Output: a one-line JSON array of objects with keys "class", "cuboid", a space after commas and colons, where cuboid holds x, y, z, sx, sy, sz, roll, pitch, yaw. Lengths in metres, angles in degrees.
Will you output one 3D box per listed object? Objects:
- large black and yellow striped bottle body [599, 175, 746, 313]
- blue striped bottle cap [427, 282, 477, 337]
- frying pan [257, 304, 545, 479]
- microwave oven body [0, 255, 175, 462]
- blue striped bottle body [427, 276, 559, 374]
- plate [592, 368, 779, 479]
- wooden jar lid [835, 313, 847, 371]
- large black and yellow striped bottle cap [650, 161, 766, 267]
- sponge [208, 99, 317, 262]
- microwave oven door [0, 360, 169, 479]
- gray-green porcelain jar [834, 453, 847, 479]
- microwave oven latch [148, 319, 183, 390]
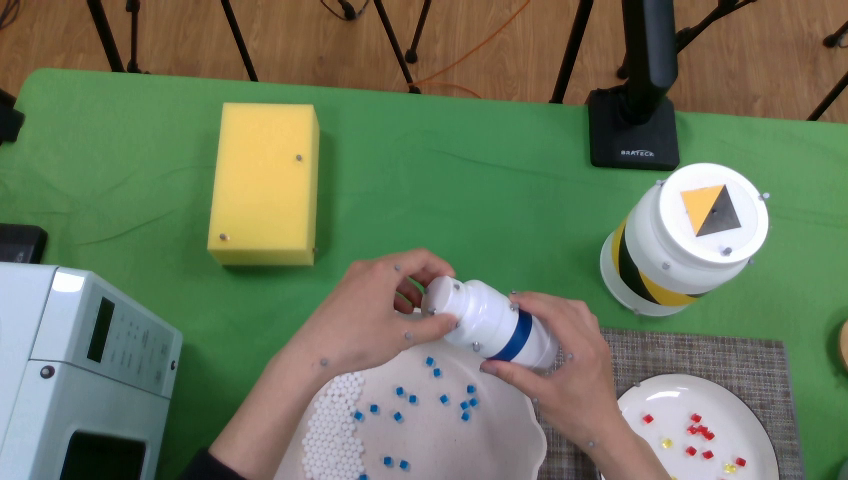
[{"class": "large black and yellow striped bottle body", "cuboid": [0.293, 0.002, 0.711, 0.131, 0.185, 0.130, 1, 69, -2]}, {"class": "blue striped bottle cap", "cuboid": [0.024, 0.059, 0.518, 0.020, 0.045, 0.044, 22, 66, 41]}, {"class": "frying pan", "cuboid": [-0.030, 0.309, 0.623, 0.307, 0.103, 0.483, 3, 61, 1]}, {"class": "microwave oven body", "cuboid": [-0.458, 0.249, 0.543, 0.326, 0.261, 0.438, 5, 70, -1]}, {"class": "blue striped bottle body", "cuboid": [0.061, 0.075, 0.558, 0.122, 0.063, 0.063, 29, 67, -27]}, {"class": "plate", "cuboid": [0.293, 0.252, 0.692, 0.209, 0.038, 0.207, 1, 70, -2]}, {"class": "wooden jar lid", "cuboid": [0.568, 0.137, 0.760, 0.108, 0.021, 0.107, 1, 71, -1]}, {"class": "large black and yellow striped bottle cap", "cuboid": [0.295, -0.029, 0.631, 0.115, 0.019, 0.114, 1, 68, -1]}, {"class": "sponge", "cuboid": [-0.204, -0.077, 0.785, 0.118, 0.061, 0.205, -1, 70, -3]}, {"class": "microwave oven door", "cuboid": [-0.316, 0.298, 0.525, 0.039, 0.245, 0.353, 4, 69, -1]}, {"class": "gray-green porcelain jar", "cuboid": [0.523, 0.273, 0.650, 0.106, 0.127, 0.105, 1, 69, -2]}, {"class": "microwave oven latch", "cuboid": [-0.300, 0.131, 0.696, 0.030, 0.029, 0.078, 7, 70, 0]}]
